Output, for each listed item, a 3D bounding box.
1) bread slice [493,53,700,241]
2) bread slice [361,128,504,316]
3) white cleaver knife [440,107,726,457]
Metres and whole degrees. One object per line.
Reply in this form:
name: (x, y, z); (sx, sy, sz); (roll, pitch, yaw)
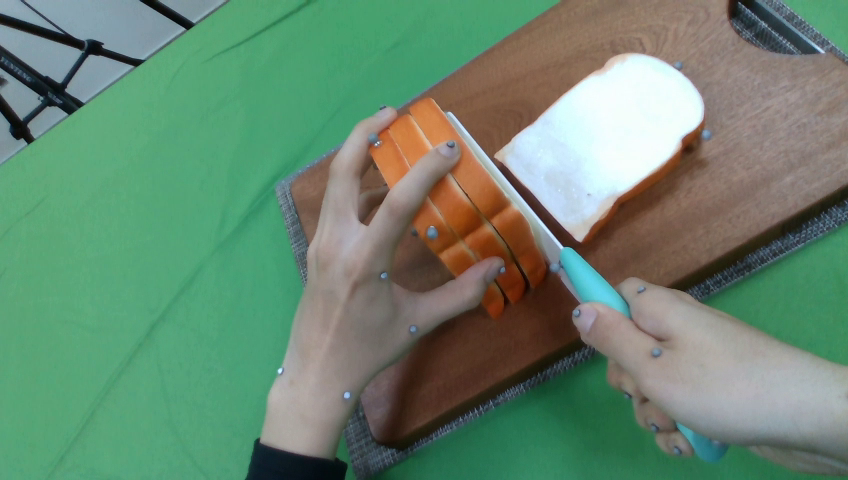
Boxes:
bread slice: (0.127, -0.072, 0.431); (0.131, 0.019, 0.103); (-41, 53, 7)
bread slice: (0.005, -0.017, 0.399); (0.018, 0.136, 0.106); (-35, 53, 6)
white cleaver knife: (0.085, 0.009, 0.386); (0.021, 0.066, 0.283); (-33, 56, 1)
